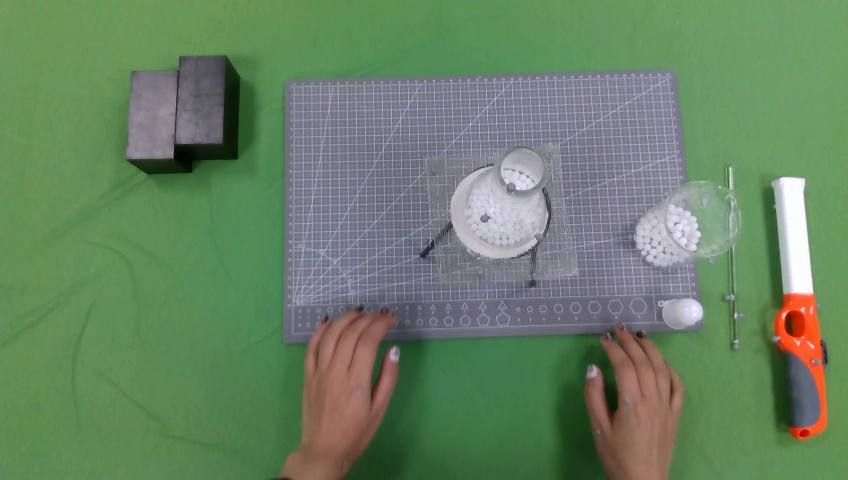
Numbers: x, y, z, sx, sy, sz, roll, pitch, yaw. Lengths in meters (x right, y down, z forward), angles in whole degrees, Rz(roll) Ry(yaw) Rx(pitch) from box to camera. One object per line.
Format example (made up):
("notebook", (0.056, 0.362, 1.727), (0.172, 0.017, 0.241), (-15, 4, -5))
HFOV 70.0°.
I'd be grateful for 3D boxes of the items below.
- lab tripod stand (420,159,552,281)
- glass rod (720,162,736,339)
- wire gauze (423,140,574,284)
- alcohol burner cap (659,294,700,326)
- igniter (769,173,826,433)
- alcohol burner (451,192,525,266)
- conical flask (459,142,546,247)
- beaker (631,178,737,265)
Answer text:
("lab tripod stand", (0.066, -0.015, 0.603), (0.148, 0.132, 0.148), (0, 82, 0))
("glass rod", (0.336, 0.009, 0.668), (0.008, 0.008, 0.199), (2, 79, 0))
("wire gauze", (0.066, -0.025, 0.538), (0.125, 0.011, 0.121), (-5, 82, -3))
("alcohol burner cap", (0.271, 0.071, 0.635), (0.034, 0.048, 0.033), (0, 79, -1))
("igniter", (0.397, 0.064, 0.648), (0.057, 0.025, 0.275), (3, 80, -10))
("alcohol burner", (0.066, -0.015, 0.613), (0.078, 0.119, 0.077), (0, 78, 1))
("conical flask", (0.067, -0.040, 0.480), (0.075, 0.122, 0.075), (0, 80, 0))
("beaker", (0.263, -0.016, 0.622), (0.084, 0.100, 0.074), (-38, 82, -7))
